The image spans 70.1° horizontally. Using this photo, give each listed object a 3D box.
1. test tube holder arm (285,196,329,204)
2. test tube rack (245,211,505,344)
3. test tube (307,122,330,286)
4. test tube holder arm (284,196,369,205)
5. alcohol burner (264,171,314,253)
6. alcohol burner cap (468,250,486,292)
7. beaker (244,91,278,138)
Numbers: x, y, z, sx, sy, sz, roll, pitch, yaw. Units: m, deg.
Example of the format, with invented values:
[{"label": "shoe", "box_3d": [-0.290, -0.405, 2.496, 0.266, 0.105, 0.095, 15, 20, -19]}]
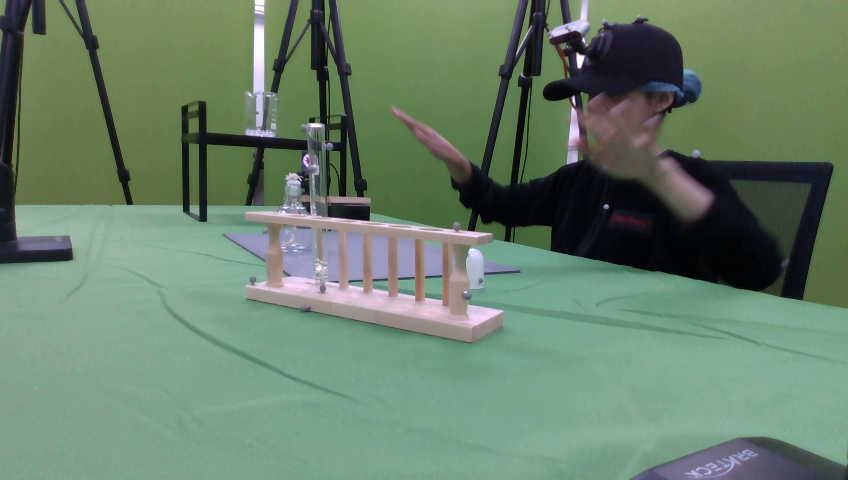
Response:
[{"label": "test tube holder arm", "box_3d": [-0.231, -0.079, 1.192, 0.088, 0.015, 0.010, 0, 5, -29]}, {"label": "test tube rack", "box_3d": [-0.049, 0.025, 0.547, 0.241, 0.085, 0.067, 7, 8, 29]}, {"label": "test tube", "box_3d": [-0.094, -0.030, 0.542, 0.017, 0.150, 0.017, 1, 17, 0]}, {"label": "test tube holder arm", "box_3d": [-0.194, -0.080, 1.220, 0.179, 0.015, 0.013, 0, 5, -31]}, {"label": "alcohol burner", "box_3d": [-0.194, -0.042, 0.888, 0.078, 0.119, 0.078, 3, 5, 0]}, {"label": "alcohol burner cap", "box_3d": [0.056, 0.035, 0.690, 0.034, 0.048, 0.034, 2, 7, 0]}, {"label": "beaker", "box_3d": [-0.368, -0.280, 1.356, 0.074, 0.100, 0.084, 4, 8, 6]}]
